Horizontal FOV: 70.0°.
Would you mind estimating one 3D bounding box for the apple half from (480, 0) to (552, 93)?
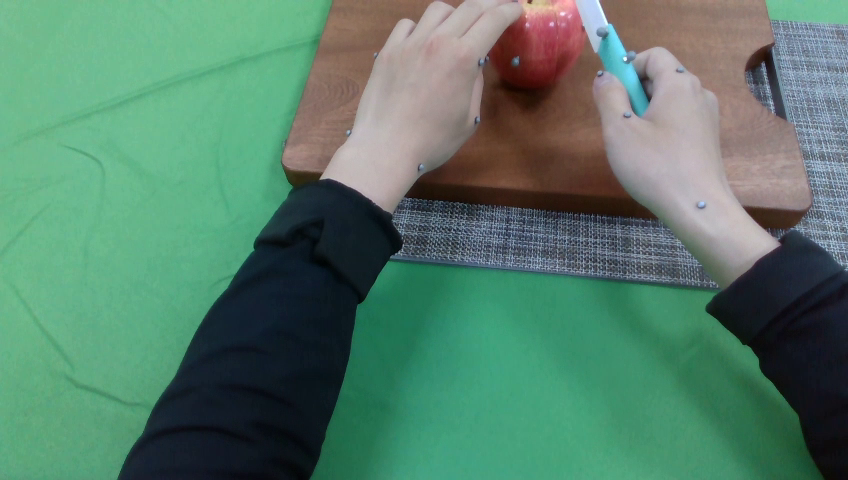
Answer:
[{"bbox_3d":[0.072,-0.161,0.491,0.053,0.075,0.080,-7,62,4],"label":"apple half"}]

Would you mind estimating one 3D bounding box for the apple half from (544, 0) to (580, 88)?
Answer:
[{"bbox_3d":[0.111,-0.165,0.490,0.033,0.082,0.080,-6,58,4],"label":"apple half"}]

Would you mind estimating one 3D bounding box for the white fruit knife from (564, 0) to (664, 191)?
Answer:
[{"bbox_3d":[0.122,-0.133,0.424,0.016,0.027,0.207,-19,84,-22],"label":"white fruit knife"}]
